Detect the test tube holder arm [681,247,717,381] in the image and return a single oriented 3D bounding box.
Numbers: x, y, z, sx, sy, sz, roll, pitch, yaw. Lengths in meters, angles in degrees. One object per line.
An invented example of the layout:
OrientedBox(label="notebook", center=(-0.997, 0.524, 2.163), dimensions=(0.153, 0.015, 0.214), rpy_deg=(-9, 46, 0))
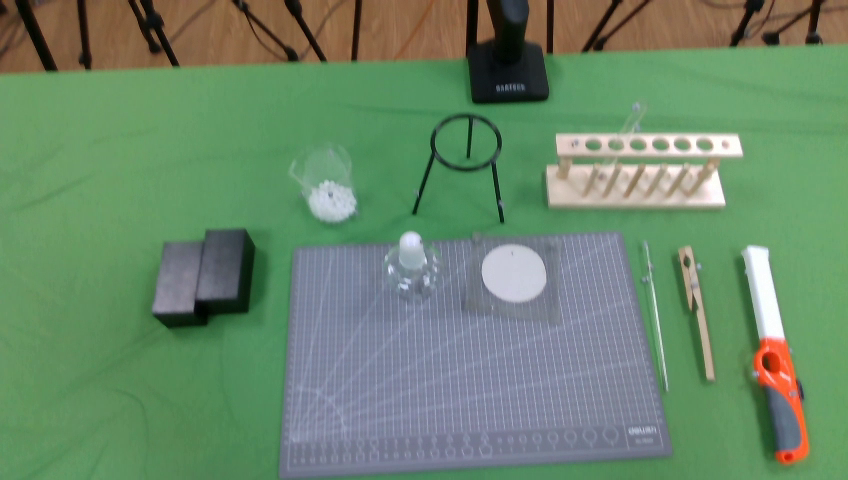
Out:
OrientedBox(label="test tube holder arm", center=(0.349, 0.090, 0.773), dimensions=(0.013, 0.015, 0.177), rpy_deg=(-20, 57, 31))

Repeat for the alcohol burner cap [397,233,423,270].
OrientedBox(label="alcohol burner cap", center=(-0.017, 0.010, 0.720), dimensions=(0.034, 0.048, 0.033), rpy_deg=(0, 56, 0))

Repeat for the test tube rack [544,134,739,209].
OrientedBox(label="test tube rack", center=(0.294, -0.094, 0.834), dimensions=(0.242, 0.086, 0.066), rpy_deg=(0, 62, 1))

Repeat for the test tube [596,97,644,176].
OrientedBox(label="test tube", center=(0.256, -0.132, 0.799), dimensions=(0.017, 0.151, 0.017), rpy_deg=(2, 60, -3))

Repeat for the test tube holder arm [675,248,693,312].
OrientedBox(label="test tube holder arm", center=(0.344, 0.052, 0.797), dimensions=(0.010, 0.015, 0.087), rpy_deg=(-19, 58, 31))

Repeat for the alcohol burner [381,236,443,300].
OrientedBox(label="alcohol burner", center=(-0.016, 0.029, 0.752), dimensions=(0.078, 0.120, 0.077), rpy_deg=(-1, 62, 2))

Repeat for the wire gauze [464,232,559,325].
OrientedBox(label="wire gauze", center=(0.118, 0.047, 0.802), dimensions=(0.125, 0.011, 0.120), rpy_deg=(7, 63, 3))

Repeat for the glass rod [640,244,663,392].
OrientedBox(label="glass rod", center=(0.292, 0.096, 0.777), dimensions=(0.008, 0.008, 0.198), rpy_deg=(2, 65, 1))

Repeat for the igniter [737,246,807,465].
OrientedBox(label="igniter", center=(0.426, 0.134, 0.746), dimensions=(0.057, 0.025, 0.274), rpy_deg=(8, 62, -7))

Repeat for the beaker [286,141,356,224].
OrientedBox(label="beaker", center=(-0.134, -0.072, 0.816), dimensions=(0.084, 0.101, 0.073), rpy_deg=(-10, 62, -4))

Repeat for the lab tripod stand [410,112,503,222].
OrientedBox(label="lab tripod stand", center=(0.048, -0.092, 0.807), dimensions=(0.148, 0.132, 0.147), rpy_deg=(0, 64, 1))
